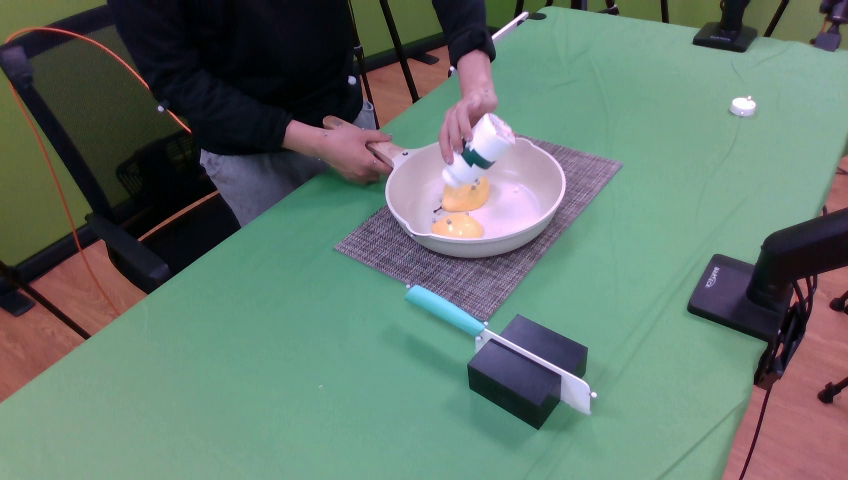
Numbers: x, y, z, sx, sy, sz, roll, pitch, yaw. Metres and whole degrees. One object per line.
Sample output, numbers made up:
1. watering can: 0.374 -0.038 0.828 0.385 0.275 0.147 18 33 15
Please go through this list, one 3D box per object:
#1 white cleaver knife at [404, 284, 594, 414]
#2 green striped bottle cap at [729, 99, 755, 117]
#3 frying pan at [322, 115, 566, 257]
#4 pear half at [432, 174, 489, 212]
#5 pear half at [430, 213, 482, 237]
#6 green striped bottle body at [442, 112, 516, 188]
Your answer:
1. white cleaver knife: 0.084 0.135 0.764 0.284 0.066 0.021 28 47 31
2. green striped bottle cap: 0.623 -0.259 1.183 0.044 0.020 0.044 -3 40 3
3. frying pan: 0.004 -0.121 1.039 0.484 0.103 0.308 31 52 25
4. pear half: 0.057 -0.083 1.024 0.110 0.056 0.075 -33 41 -24
5. pear half: 0.050 -0.024 0.972 0.087 0.031 0.070 15 40 17
6. green striped bottle body: 0.078 -0.132 0.919 0.063 0.119 0.063 30 35 -24
